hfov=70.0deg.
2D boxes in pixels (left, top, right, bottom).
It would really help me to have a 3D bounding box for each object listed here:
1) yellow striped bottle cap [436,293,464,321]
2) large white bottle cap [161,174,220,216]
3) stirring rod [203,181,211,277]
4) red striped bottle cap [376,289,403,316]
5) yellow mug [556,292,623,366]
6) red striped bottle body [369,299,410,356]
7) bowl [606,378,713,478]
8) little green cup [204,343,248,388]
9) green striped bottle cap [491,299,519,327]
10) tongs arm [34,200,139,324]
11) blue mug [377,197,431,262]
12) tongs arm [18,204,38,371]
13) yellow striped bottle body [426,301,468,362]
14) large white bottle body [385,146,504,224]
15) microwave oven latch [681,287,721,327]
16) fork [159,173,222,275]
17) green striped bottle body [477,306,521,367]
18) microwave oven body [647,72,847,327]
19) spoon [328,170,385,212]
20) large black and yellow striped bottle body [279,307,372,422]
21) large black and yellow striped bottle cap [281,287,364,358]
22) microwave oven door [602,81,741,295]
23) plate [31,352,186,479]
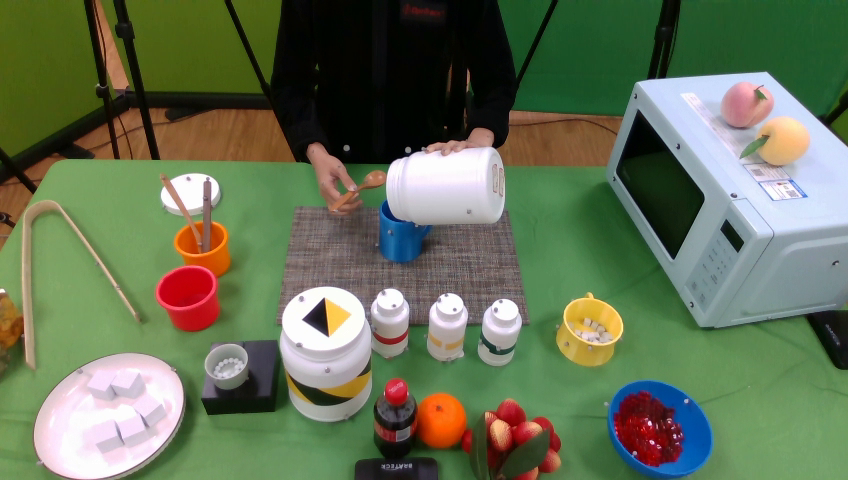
[{"bbox_3d":[0.041,0.106,0.959,0.044,0.019,0.044,-1,50,1],"label":"yellow striped bottle cap"},{"bbox_3d":[-0.483,-0.095,1.253,0.115,0.018,0.114,2,46,-2],"label":"large white bottle cap"},{"bbox_3d":[-0.396,-0.021,1.107,0.014,0.006,0.176,-1,89,-1],"label":"stirring rod"},{"bbox_3d":[-0.055,0.098,0.958,0.044,0.018,0.044,0,48,0],"label":"red striped bottle cap"},{"bbox_3d":[0.285,0.145,1.051,0.100,0.064,0.130,7,45,3],"label":"yellow mug"},{"bbox_3d":[-0.058,0.135,0.997,0.063,0.120,0.062,6,49,-6],"label":"red striped bottle body"},{"bbox_3d":[0.340,0.292,0.906,0.151,0.077,0.150,2,46,-2],"label":"bowl"},{"bbox_3d":[-0.294,0.190,0.909,0.061,0.039,0.061,1,48,0],"label":"little green cup"},{"bbox_3d":[0.128,0.115,0.958,0.044,0.020,0.044,1,47,-1],"label":"green striped bottle cap"},{"bbox_3d":[-0.622,0.034,1.105,0.051,0.026,0.382,-32,56,-25],"label":"tongs arm"},{"bbox_3d":[-0.033,-0.029,1.159,0.116,0.106,0.082,-22,52,-23],"label":"blue mug"},{"bbox_3d":[-0.698,0.070,1.069,0.028,0.028,0.385,-21,51,-13],"label":"tongs arm"},{"bbox_3d":[0.037,0.142,0.996,0.063,0.121,0.062,3,46,-3],"label":"yellow striped bottle body"},{"bbox_3d":[0.036,-0.093,1.052,0.184,0.131,0.130,-1,43,22],"label":"large white bottle body"},{"bbox_3d":[0.494,0.119,1.087,0.030,0.029,0.078,-6,46,-9],"label":"microwave oven latch"},{"bbox_3d":[-0.427,-0.029,1.103,0.028,0.018,0.207,-31,99,-30],"label":"fork"},{"bbox_3d":[0.124,0.151,0.995,0.063,0.120,0.063,2,46,-2],"label":"green striped bottle body"},{"bbox_3d":[0.607,-0.089,1.164,0.326,0.261,0.438,-7,46,-10],"label":"microwave oven body"},{"bbox_3d":[-0.126,-0.092,1.120,0.041,0.022,0.193,22,29,15],"label":"spoon"},{"bbox_3d":[-0.145,0.173,0.907,0.131,0.185,0.130,2,46,-2],"label":"large black and yellow striped bottle body"},{"bbox_3d":[-0.141,0.112,0.847,0.115,0.019,0.114,5,45,-4],"label":"large black and yellow striped bottle cap"},{"bbox_3d":[0.456,-0.107,1.162,0.039,0.245,0.353,-7,47,-11],"label":"microwave oven door"},{"bbox_3d":[-0.459,0.262,0.898,0.209,0.038,0.208,2,46,-2],"label":"plate"}]
